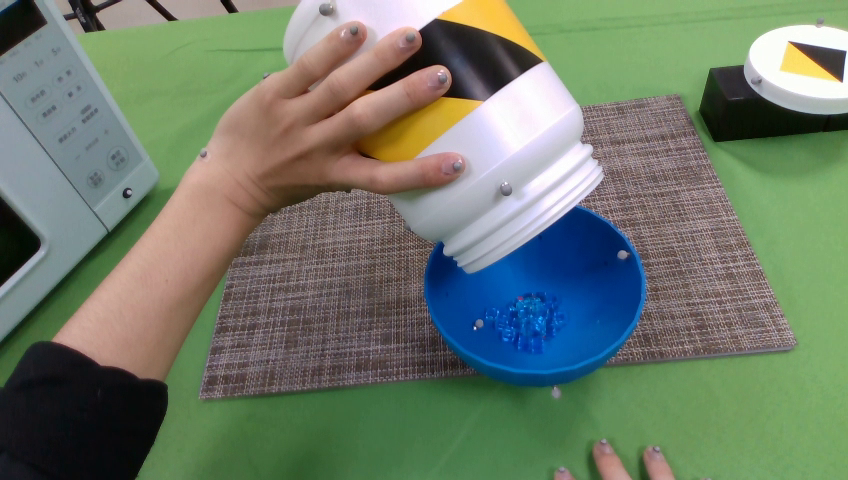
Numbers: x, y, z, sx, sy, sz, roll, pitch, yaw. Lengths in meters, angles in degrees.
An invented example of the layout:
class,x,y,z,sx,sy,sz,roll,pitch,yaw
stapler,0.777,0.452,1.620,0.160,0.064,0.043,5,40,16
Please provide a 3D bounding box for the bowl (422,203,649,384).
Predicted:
class,x,y,z,sx,sy,sz,roll,pitch,yaw
bowl,0.078,0.047,0.442,0.151,0.077,0.150,-4,50,6

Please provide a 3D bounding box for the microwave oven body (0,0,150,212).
class,x,y,z,sx,sy,sz,roll,pitch,yaw
microwave oven body,-0.515,-0.029,0.477,0.324,0.263,0.439,17,56,21

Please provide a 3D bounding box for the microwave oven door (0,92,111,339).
class,x,y,z,sx,sy,sz,roll,pitch,yaw
microwave oven door,-0.404,0.036,0.398,0.039,0.246,0.354,17,55,22

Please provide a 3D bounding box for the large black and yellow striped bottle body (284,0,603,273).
class,x,y,z,sx,sy,sz,roll,pitch,yaw
large black and yellow striped bottle body,0.016,-0.083,0.384,0.130,0.130,0.184,-37,93,-21

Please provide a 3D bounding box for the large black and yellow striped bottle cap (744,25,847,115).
class,x,y,z,sx,sy,sz,roll,pitch,yaw
large black and yellow striped bottle cap,0.355,-0.156,0.549,0.115,0.019,0.114,-5,49,6

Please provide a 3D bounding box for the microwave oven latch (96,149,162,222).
class,x,y,z,sx,sy,sz,roll,pitch,yaw
microwave oven latch,-0.294,-0.056,0.593,0.030,0.030,0.079,19,56,22
